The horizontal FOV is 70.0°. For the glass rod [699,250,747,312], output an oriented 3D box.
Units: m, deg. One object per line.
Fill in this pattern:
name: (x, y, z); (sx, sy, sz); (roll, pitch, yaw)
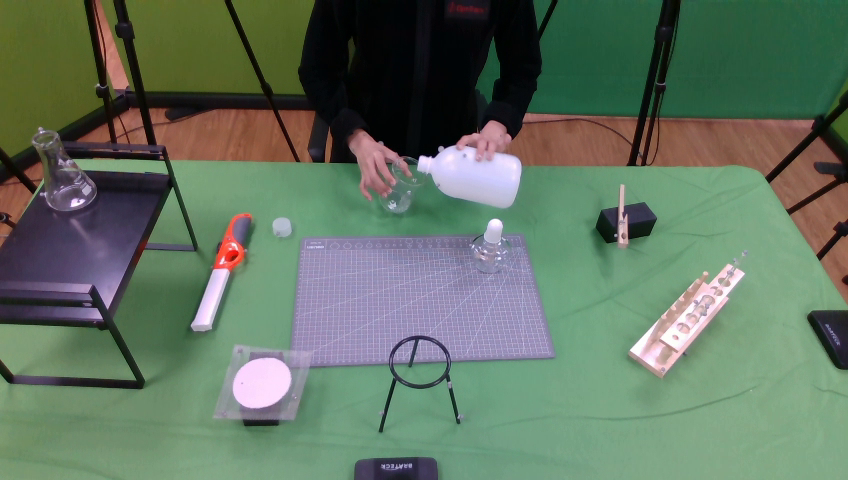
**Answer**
glass rod: (0.500, 0.075, 1.021); (0.008, 0.201, 0.008); (0, 55, 1)

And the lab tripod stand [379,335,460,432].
lab tripod stand: (-0.011, 0.214, 0.911); (0.148, 0.132, 0.147); (1, 45, 0)

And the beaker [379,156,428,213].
beaker: (-0.042, -0.109, 1.211); (0.084, 0.100, 0.073); (-14, 63, -32)

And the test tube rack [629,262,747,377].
test tube rack: (0.464, 0.126, 1.061); (0.242, 0.085, 0.066); (-34, 56, -30)

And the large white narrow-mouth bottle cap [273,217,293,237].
large white narrow-mouth bottle cap: (-0.281, -0.026, 1.203); (0.038, 0.024, 0.037); (2, 46, -2)

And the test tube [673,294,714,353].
test tube: (0.428, 0.137, 0.978); (0.017, 0.151, 0.017); (4, 47, -4)

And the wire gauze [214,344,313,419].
wire gauze: (-0.241, 0.213, 0.916); (0.121, 0.011, 0.124); (5, 46, 1)

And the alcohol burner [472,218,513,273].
alcohol burner: (0.128, 0.005, 1.132); (0.078, 0.120, 0.077); (0, 47, 0)

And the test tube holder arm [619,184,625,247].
test tube holder arm: (0.396, -0.053, 1.210); (0.013, 0.015, 0.177); (14, 46, 2)

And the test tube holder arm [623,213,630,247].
test tube holder arm: (0.393, -0.020, 1.179); (0.010, 0.015, 0.087); (13, 46, 1)

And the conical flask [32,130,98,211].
conical flask: (-0.565, -0.111, 0.944); (0.075, 0.122, 0.075); (2, 46, -2)

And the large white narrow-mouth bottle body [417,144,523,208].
large white narrow-mouth bottle body: (0.084, -0.129, 1.157); (0.195, 0.102, 0.101); (13, 46, -3)

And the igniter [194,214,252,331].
igniter: (-0.367, 0.050, 1.119); (0.057, 0.025, 0.275); (-4, 45, 7)

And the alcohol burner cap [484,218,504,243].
alcohol burner cap: (0.130, -0.021, 1.106); (0.034, 0.048, 0.033); (3, 51, -4)
